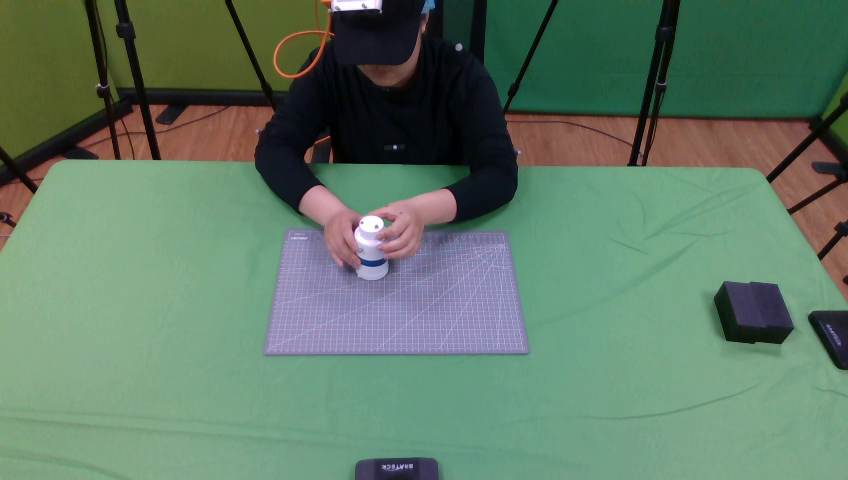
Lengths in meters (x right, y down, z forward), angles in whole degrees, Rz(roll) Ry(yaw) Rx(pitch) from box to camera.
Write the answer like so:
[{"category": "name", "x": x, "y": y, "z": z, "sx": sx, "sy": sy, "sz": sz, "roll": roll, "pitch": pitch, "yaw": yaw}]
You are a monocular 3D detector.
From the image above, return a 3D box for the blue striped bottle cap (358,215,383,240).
[{"category": "blue striped bottle cap", "x": -0.094, "y": -0.023, "z": 1.070, "sx": 0.044, "sy": 0.021, "sz": 0.044, "roll": 2, "pitch": 48, "yaw": -2}]

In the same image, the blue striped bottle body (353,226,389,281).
[{"category": "blue striped bottle body", "x": -0.097, "y": 0.013, "z": 1.106, "sx": 0.063, "sy": 0.121, "sz": 0.062, "roll": 1, "pitch": 44, "yaw": -1}]
